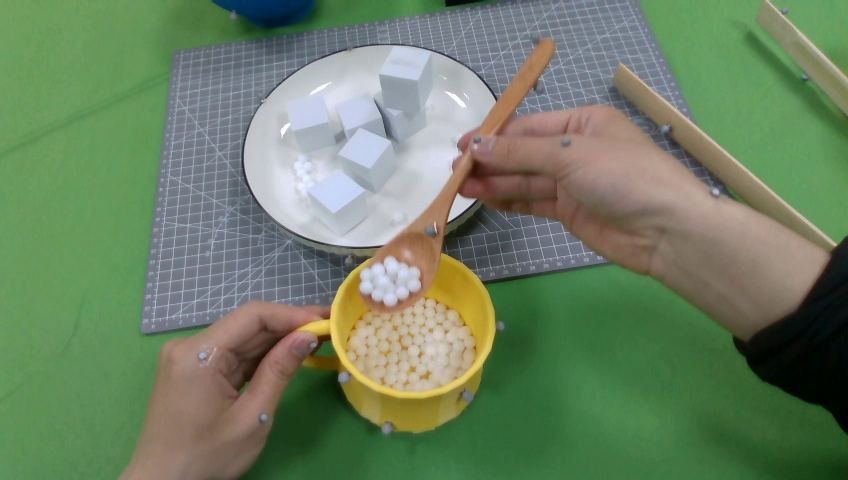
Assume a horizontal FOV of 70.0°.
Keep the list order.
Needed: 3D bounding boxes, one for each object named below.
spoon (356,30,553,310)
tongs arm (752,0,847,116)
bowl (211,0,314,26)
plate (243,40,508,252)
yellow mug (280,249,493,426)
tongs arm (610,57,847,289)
[{"bbox_3d":[0.023,-0.043,0.350,0.041,0.022,0.193,31,88,26],"label":"spoon"},{"bbox_3d":[0.345,-0.048,0.445,0.051,0.027,0.381,-20,62,-8],"label":"tongs arm"},{"bbox_3d":[-0.153,-0.265,0.588,0.151,0.077,0.150,-2,60,4],"label":"bowl"},{"bbox_3d":[-0.037,-0.076,0.489,0.207,0.039,0.206,-2,60,4],"label":"plate"},{"bbox_3d":[-0.025,0.062,0.384,0.131,0.064,0.099,-5,57,-6],"label":"yellow mug"},{"bbox_3d":[0.272,-0.014,0.432,0.028,0.028,0.384,-31,63,-17],"label":"tongs arm"}]
